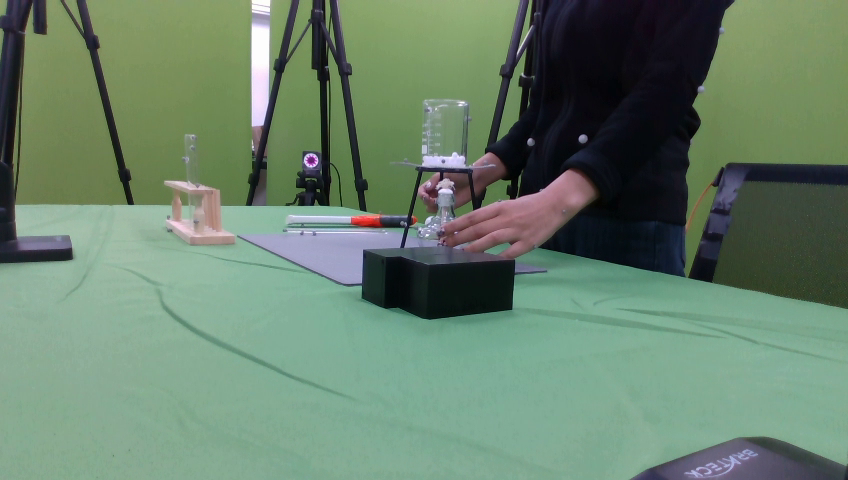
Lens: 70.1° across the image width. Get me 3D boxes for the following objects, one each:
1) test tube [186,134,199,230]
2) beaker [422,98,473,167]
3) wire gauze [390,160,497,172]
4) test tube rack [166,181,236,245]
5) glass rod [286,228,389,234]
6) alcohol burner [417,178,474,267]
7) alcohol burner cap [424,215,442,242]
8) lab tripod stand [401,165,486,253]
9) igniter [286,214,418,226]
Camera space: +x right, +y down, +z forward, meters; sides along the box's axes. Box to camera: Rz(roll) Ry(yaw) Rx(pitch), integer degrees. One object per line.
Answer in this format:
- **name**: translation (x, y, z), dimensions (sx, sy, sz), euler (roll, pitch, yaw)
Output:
- **test tube**: translation (-0.360, -0.089, 0.946), dimensions (0.017, 0.150, 0.017), euler (0, 10, 0)
- **beaker**: translation (0.031, -0.162, 0.919), dimensions (0.074, 0.100, 0.083), euler (-4, 10, -36)
- **wire gauze**: translation (0.027, -0.114, 0.920), dimensions (0.122, 0.011, 0.124), euler (-5, 13, -34)
- **test tube rack**: translation (-0.383, -0.051, 1.024), dimensions (0.067, 0.085, 0.241), euler (-2, 9, -31)
- **glass rod**: translation (-0.154, -0.016, 1.101), dimensions (0.201, 0.008, 0.008), euler (1, 6, -31)
- **alcohol burner**: translation (0.029, -0.024, 0.810), dimensions (0.078, 0.119, 0.078), euler (1, 8, 0)
- **alcohol burner cap**: translation (0.017, -0.022, 1.098), dimensions (0.034, 0.048, 0.034), euler (2, 9, 0)
- **lab tripod stand**: translation (0.027, -0.049, 0.930), dimensions (0.148, 0.131, 0.148), euler (2, 9, 0)
- **igniter**: translation (-0.146, -0.043, 1.263), dimensions (0.278, 0.025, 0.057), euler (-1, -2, -24)
